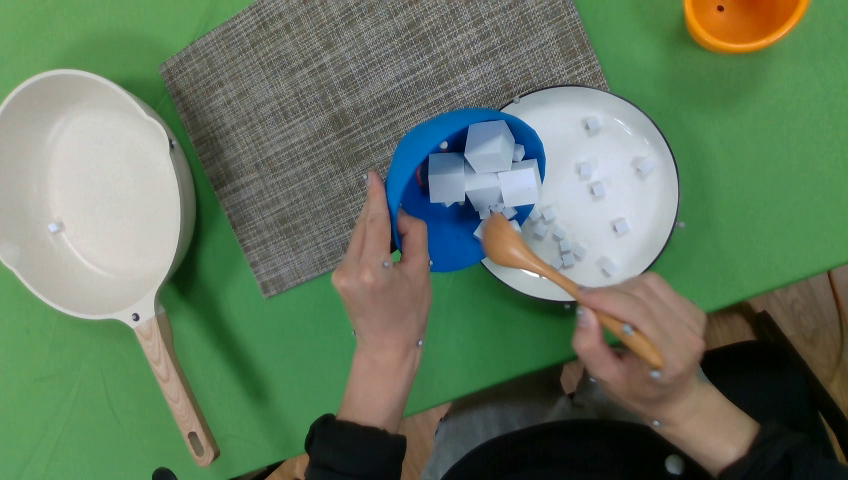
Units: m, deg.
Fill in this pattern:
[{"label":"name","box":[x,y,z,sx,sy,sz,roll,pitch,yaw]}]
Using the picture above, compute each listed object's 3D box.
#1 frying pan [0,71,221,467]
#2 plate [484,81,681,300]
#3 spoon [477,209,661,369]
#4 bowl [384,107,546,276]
[{"label":"frying pan","box":[-0.354,0.042,0.721,0.306,0.103,0.486,-28,83,20]},{"label":"plate","box":[0.136,-0.046,0.587,0.207,0.039,0.208,3,103,16]},{"label":"spoon","box":[0.097,0.030,0.441,0.191,0.022,0.042,39,124,42]},{"label":"bowl","box":[0.022,-0.052,0.519,0.076,0.152,0.152,45,114,42]}]
